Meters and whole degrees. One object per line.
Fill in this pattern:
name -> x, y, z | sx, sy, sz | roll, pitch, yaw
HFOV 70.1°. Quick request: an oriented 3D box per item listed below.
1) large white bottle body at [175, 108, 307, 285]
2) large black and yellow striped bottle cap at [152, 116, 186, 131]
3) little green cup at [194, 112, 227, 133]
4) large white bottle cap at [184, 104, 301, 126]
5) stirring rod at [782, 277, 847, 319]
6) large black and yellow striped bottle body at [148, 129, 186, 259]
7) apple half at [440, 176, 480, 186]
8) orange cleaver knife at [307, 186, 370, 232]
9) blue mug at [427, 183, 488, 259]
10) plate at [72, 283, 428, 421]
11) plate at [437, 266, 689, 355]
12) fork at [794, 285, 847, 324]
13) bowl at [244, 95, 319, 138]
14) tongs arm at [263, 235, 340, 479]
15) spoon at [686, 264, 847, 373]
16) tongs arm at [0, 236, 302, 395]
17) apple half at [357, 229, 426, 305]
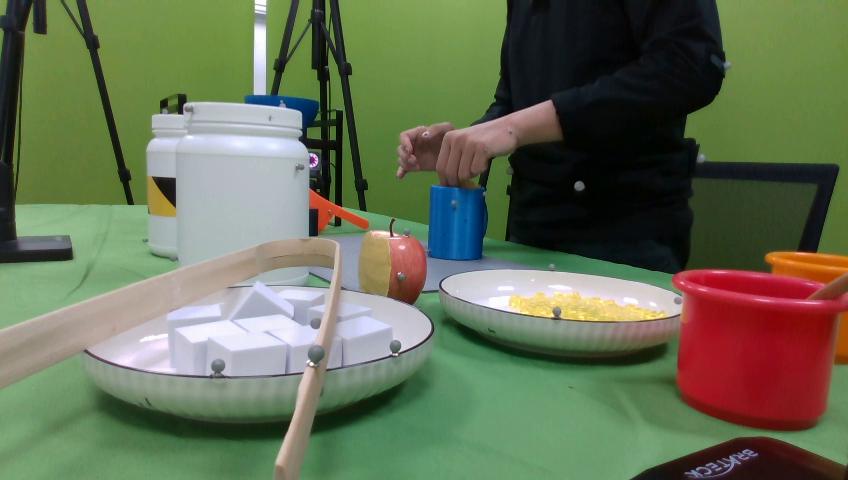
large white bottle body -> -0.188, -0.042, 0.630 | 0.131, 0.184, 0.130 | 2, 8, 0
large black and yellow striped bottle cap -> -0.309, -0.155, 0.826 | 0.115, 0.019, 0.115 | 3, 6, 0
little green cup -> -0.412, -0.228, 1.171 | 0.061, 0.038, 0.061 | 2, 8, 0
large white bottle cap -> -0.184, -0.126, 0.618 | 0.115, 0.018, 0.115 | 2, 8, 0
stirring rod -> 0.344, 0.019, 0.461 | 0.014, 0.006, 0.176 | -13, -27, -30
large black and yellow striped bottle body -> -0.310, -0.073, 0.838 | 0.131, 0.184, 0.130 | 2, 8, 0
apple half -> 0.048, -0.059, 0.901 | 0.081, 0.081, 0.033 | 2, 16, -3
orange cleaver knife -> -0.197, -0.056, 1.141 | 0.212, 0.077, 0.012 | 29, 0, -34
blue mug -> 0.059, -0.031, 0.907 | 0.082, 0.106, 0.117 | 9, 10, 42
plate -> -0.102, 0.066, 0.381 | 0.208, 0.039, 0.207 | 2, 7, 0
plate -> 0.114, 0.057, 0.517 | 0.209, 0.038, 0.209 | 3, 7, 0
fork -> 0.332, 0.018, 0.443 | 0.028, 0.018, 0.207 | -1, -36, -15
bowl -> -0.293, -0.251, 1.249 | 0.151, 0.077, 0.151 | 2, 8, 0
tongs arm -> -0.074, 0.039, 0.349 | 0.051, 0.026, 0.384 | -2, 9, -3
spoon -> 0.214, 0.032, 0.328 | 0.042, 0.021, 0.193 | -3, -35, -26
tongs arm -> -0.158, 0.038, 0.351 | 0.028, 0.028, 0.388 | -3, 8, 12
apple half -> -0.026, 0.028, 0.570 | 0.053, 0.074, 0.080 | 3, 2, -28
